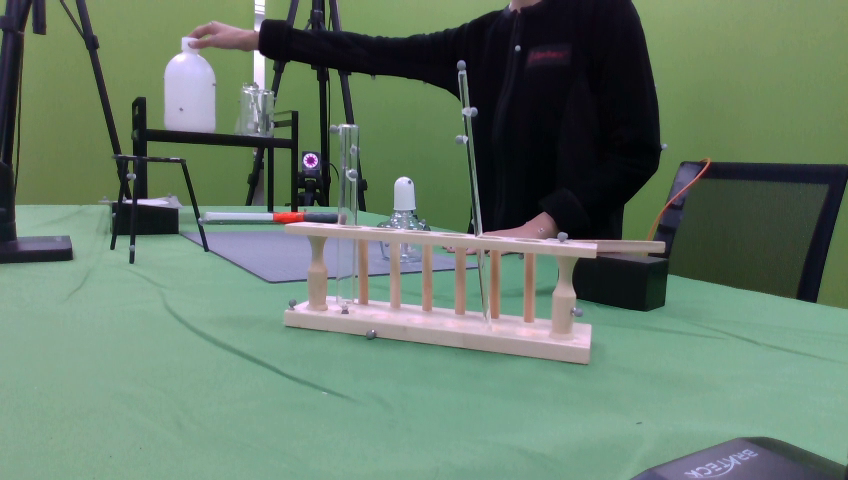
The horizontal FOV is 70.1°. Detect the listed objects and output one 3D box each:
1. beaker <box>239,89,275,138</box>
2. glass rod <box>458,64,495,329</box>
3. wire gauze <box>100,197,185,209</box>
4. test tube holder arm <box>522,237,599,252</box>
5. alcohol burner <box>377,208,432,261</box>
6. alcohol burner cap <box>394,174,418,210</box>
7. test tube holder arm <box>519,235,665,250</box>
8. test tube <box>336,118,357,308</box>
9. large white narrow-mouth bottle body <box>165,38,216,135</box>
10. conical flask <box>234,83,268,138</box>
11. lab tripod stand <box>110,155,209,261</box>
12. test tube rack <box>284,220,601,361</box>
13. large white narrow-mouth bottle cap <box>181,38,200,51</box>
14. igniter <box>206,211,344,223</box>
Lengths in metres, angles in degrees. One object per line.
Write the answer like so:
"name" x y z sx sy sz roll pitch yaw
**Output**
"beaker" -0.361 -0.273 1.307 0.074 0.100 0.084 1 8 -11
"glass rod" 0.040 -0.029 0.450 0.008 0.199 0.008 -7 9 1
"wire gauze" -0.469 -0.062 1.008 0.126 0.011 0.121 -2 8 -25
"test tube holder arm" 0.144 0.005 0.636 0.088 0.015 0.010 -1 16 -19
"alcohol burner" -0.027 -0.031 0.838 0.078 0.119 0.078 0 6 0
"alcohol burner cap" -0.026 -0.067 0.834 0.034 0.048 0.034 -1 12 1
"test tube holder arm" 0.186 0.003 0.656 0.179 0.015 0.013 -1 16 -19
"test tube" -0.061 -0.019 0.476 0.017 0.150 0.017 2 11 0
"large white narrow-mouth bottle body" -0.491 -0.322 1.275 0.102 0.194 0.102 2 7 0
"conical flask" -0.400 -0.298 1.396 0.075 0.122 0.075 2 8 0
"lab tripod stand" -0.361 -0.046 0.806 0.148 0.131 0.148 2 5 0
"test tube rack" 0.013 0.032 0.482 0.242 0.085 0.067 4 7 16
"large white narrow-mouth bottle cap" -0.488 -0.407 1.266 0.038 0.024 0.037 2 7 0
"igniter" -0.302 -0.048 1.249 0.278 0.025 0.057 -2 -2 -27
